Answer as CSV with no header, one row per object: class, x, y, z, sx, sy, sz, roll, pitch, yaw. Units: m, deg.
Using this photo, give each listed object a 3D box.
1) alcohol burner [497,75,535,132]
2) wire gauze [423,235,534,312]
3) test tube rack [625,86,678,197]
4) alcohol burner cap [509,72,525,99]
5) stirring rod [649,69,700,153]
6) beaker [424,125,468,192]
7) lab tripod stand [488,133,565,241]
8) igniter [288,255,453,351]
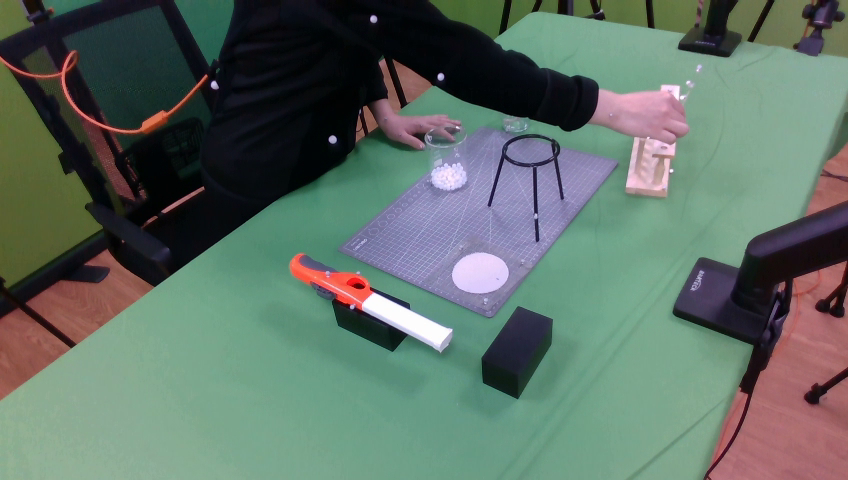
alcohol burner,0.184,-0.278,1.210,0.078,0.119,0.077,-3,43,4
wire gauze,0.082,0.049,0.914,0.120,0.011,0.125,26,53,32
test tube rack,0.412,-0.184,1.088,0.066,0.085,0.242,9,43,18
alcohol burner cap,0.181,-0.306,1.186,0.034,0.048,0.033,-7,39,6
stirring rod,0.398,-0.201,0.966,0.014,0.176,0.006,-23,61,-19
beaker,0.043,-0.144,1.078,0.073,0.100,0.084,28,51,34
lab tripod stand,0.169,-0.093,0.972,0.148,0.132,0.147,-5,41,5
igniter,-0.082,0.079,0.818,0.274,0.025,0.057,23,46,27
